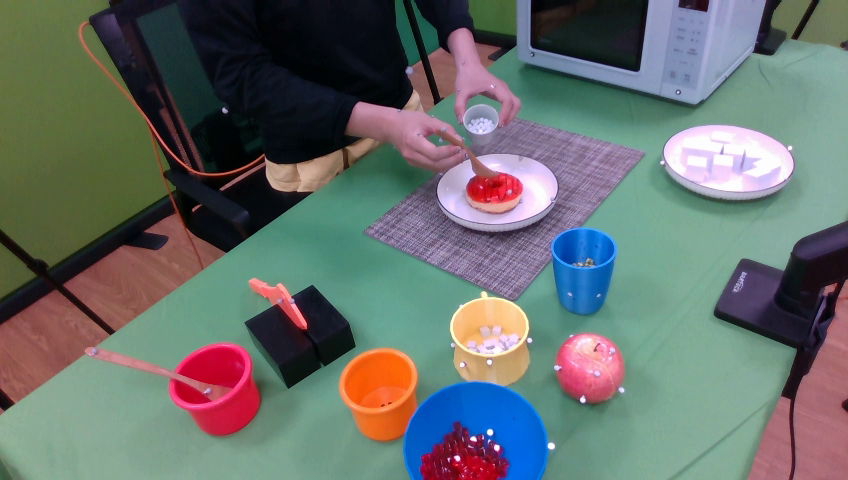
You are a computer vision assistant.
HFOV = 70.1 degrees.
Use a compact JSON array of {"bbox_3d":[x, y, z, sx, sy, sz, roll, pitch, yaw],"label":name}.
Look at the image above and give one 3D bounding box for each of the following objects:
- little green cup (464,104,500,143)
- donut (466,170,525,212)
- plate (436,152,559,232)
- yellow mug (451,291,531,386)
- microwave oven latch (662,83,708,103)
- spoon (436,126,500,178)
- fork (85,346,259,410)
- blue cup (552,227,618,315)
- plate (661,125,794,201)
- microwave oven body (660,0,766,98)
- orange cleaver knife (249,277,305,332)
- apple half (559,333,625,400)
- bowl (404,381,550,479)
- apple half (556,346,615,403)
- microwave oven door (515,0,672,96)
[{"bbox_3d":[0.098,-0.197,1.034,0.061,0.039,0.061,0,70,0],"label":"little green cup"},{"bbox_3d":[0.121,-0.083,1.019,0.099,0.048,0.098,-4,38,4],"label":"donut"},{"bbox_3d":[0.125,-0.078,1.030,0.209,0.038,0.208,-4,40,4],"label":"plate"},{"bbox_3d":[0.085,0.120,0.786,0.100,0.064,0.130,-7,39,1],"label":"yellow mug"},{"bbox_3d":[0.517,-0.296,1.204,0.078,0.029,0.030,27,52,35],"label":"microwave oven latch"},{"bbox_3d":[0.065,-0.131,0.912,0.041,0.195,0.021,8,77,32],"label":"spoon"},{"bbox_3d":[-0.298,0.166,0.727,0.209,0.018,0.028,28,47,-23],"label":"fork"},{"bbox_3d":[0.218,0.047,0.825,0.092,0.101,0.092,-6,39,5],"label":"blue cup"},{"bbox_3d":[0.513,-0.128,1.035,0.207,0.039,0.206,-4,40,4],"label":"plate"},{"bbox_3d":[0.472,-0.513,1.317,0.438,0.261,0.327,26,51,34],"label":"microwave oven body"},{"bbox_3d":[-0.210,0.088,0.855,0.012,0.077,0.210,-28,15,-25],"label":"orange cleaver knife"},{"bbox_3d":[0.209,0.147,0.730,0.080,0.075,0.053,26,48,38],"label":"apple half"},{"bbox_3d":[0.058,0.235,0.645,0.151,0.077,0.150,-4,39,4],"label":"bowl"},{"bbox_3d":[0.181,0.167,0.709,0.080,0.081,0.033,29,50,35],"label":"apple half"},{"bbox_3d":[0.344,-0.455,1.260,0.353,0.245,0.039,26,51,33],"label":"microwave oven door"}]
